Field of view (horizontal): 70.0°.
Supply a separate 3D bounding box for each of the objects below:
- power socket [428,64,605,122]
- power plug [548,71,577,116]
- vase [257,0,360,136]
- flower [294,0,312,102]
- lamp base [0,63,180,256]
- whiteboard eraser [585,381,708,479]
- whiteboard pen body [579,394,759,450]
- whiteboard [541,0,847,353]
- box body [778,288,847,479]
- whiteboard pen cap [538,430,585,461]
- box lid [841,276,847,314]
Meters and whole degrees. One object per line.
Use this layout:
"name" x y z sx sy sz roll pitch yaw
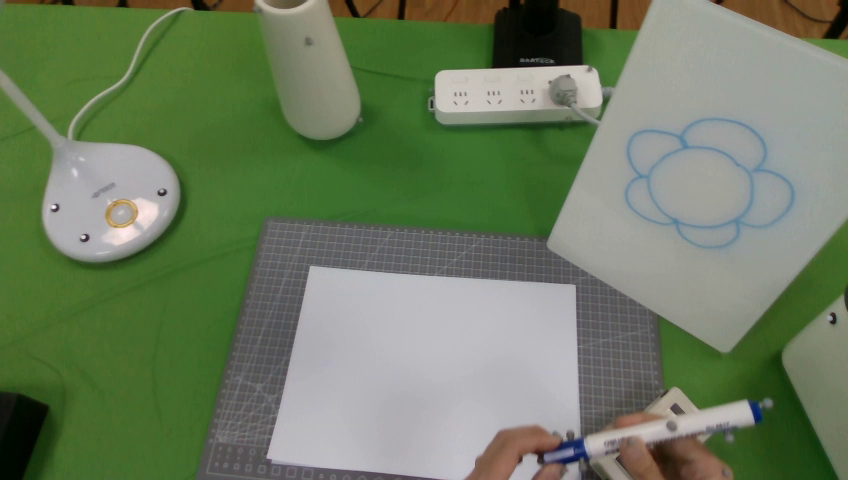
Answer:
"power socket" 0.118 -0.189 0.776 0.227 0.033 0.071 0 63 1
"power plug" 0.168 -0.173 0.741 0.035 0.053 0.072 9 69 7
"vase" -0.134 -0.212 0.702 0.098 0.201 0.097 -1 62 3
"flower" -0.118 -0.241 0.625 0.044 0.362 0.038 -35 83 -24
"lamp base" -0.386 -0.096 0.661 0.178 0.182 0.160 35 68 21
"whiteboard eraser" 0.209 0.188 0.569 0.112 0.042 0.055 -35 66 -15
"whiteboard pen body" 0.155 0.129 0.418 0.140 0.017 0.017 -19 60 19
"whiteboard" 0.286 -0.077 0.594 0.216 0.307 0.143 34 48 18
"box body" 0.503 0.193 0.491 0.254 0.161 0.360 -12 63 -4
"whiteboard pen cap" 0.101 0.149 0.438 0.033 0.018 0.018 -21 59 22
"box lid" 0.500 0.156 0.426 0.263 0.015 0.368 -12 63 -4
